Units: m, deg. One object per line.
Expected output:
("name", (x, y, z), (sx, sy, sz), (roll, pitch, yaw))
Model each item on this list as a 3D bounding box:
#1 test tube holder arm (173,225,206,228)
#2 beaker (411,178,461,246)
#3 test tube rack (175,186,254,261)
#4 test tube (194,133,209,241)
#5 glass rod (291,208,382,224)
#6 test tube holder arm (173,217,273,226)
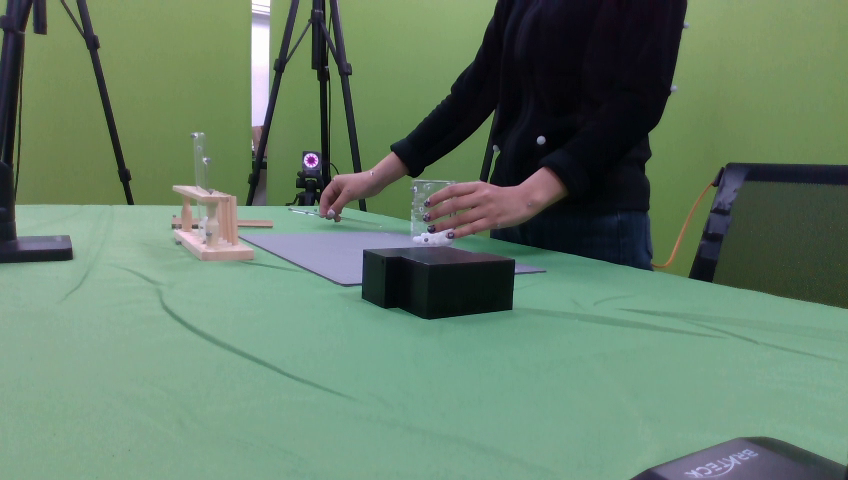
("test tube holder arm", (-0.415, -0.030, 1.113), (0.088, 0.015, 0.010), (-1, -22, -25))
("beaker", (0.015, -0.044, 0.931), (0.074, 0.100, 0.083), (-1, 6, -24))
("test tube rack", (-0.314, -0.031, 0.889), (0.067, 0.085, 0.241), (-2, 8, -30))
("test tube", (-0.307, -0.074, 0.842), (0.017, 0.150, 0.017), (-3, 2, 0))
("glass rod", (-0.176, -0.049, 1.243), (0.201, 0.008, 0.008), (8, 3, -29))
("test tube holder arm", (-0.371, -0.033, 1.128), (0.179, 0.015, 0.013), (-1, -22, -26))
